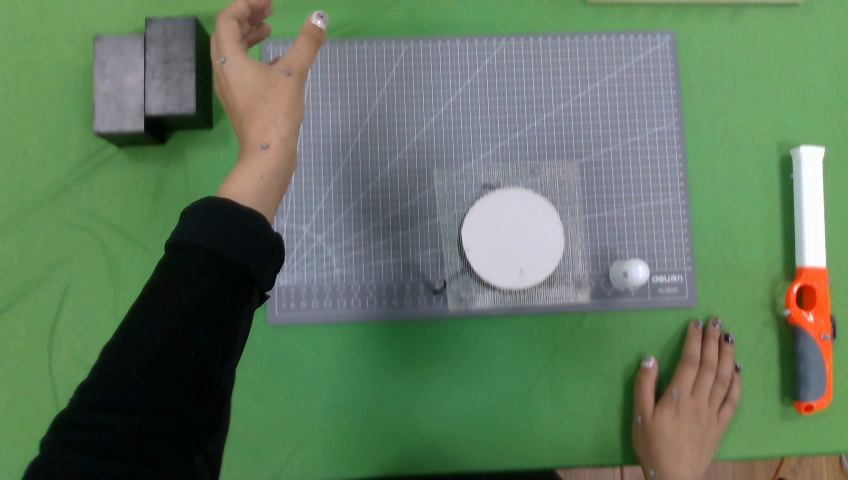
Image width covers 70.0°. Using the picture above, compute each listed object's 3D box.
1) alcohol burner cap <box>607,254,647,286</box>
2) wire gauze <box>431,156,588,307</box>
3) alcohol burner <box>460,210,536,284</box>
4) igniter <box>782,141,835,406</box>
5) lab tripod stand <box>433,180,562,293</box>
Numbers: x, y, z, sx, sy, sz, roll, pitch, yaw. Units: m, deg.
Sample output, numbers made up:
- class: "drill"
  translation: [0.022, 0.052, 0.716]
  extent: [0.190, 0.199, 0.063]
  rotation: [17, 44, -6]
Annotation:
- class: "alcohol burner cap"
  translation: [0.211, 0.030, 0.621]
  extent: [0.034, 0.048, 0.034]
  rotation: [0, 83, 0]
- class: "wire gauze"
  translation: [0.072, -0.008, 0.507]
  extent: [0.125, 0.011, 0.121]
  rotation: [-4, 84, -3]
- class: "alcohol burner"
  translation: [0.073, 0.007, 0.583]
  extent: [0.078, 0.119, 0.077]
  rotation: [0, 82, -2]
- class: "igniter"
  translation: [0.403, 0.033, 0.637]
  extent: [0.057, 0.025, 0.276]
  rotation: [3, 85, -11]
- class: "lab tripod stand"
  translation: [0.069, 0.002, 0.573]
  extent: [0.148, 0.132, 0.148]
  rotation: [0, 83, 0]
